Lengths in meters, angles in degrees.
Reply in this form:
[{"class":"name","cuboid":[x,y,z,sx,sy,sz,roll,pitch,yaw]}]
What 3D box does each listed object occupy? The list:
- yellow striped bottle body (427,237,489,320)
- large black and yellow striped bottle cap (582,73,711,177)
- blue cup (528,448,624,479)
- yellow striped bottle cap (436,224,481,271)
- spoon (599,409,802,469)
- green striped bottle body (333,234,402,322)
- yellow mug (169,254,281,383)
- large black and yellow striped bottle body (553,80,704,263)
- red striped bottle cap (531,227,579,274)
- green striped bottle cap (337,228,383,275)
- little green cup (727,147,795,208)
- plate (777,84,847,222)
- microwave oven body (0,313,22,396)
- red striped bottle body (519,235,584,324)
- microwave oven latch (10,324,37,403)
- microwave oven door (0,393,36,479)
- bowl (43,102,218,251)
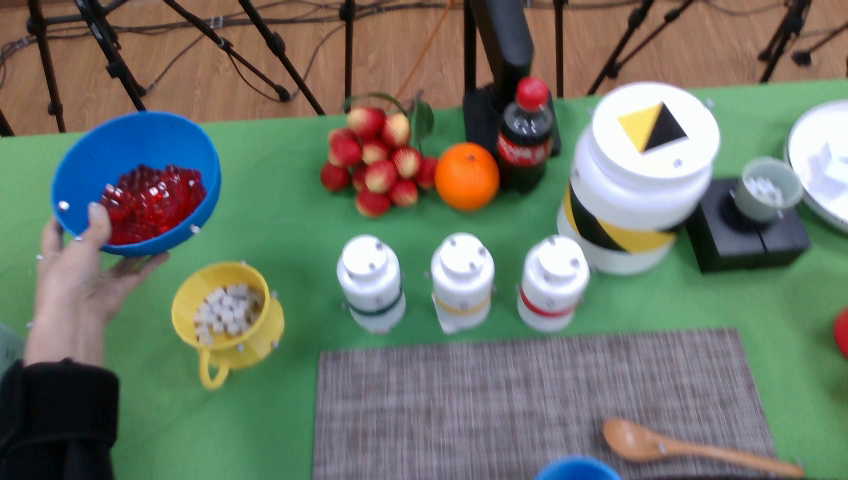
[{"class":"yellow striped bottle body","cuboid":[0.036,0.033,0.630,0.063,0.121,0.062,-2,61,3]},{"class":"large black and yellow striped bottle cap","cuboid":[0.208,-0.110,0.568,0.115,0.019,0.114,-2,60,3]},{"class":"blue cup","cuboid":[0.123,0.233,0.521,0.092,0.101,0.092,0,60,1]},{"class":"yellow striped bottle cap","cuboid":[0.033,0.007,0.586,0.044,0.019,0.044,-1,62,2]},{"class":"spoon","cuboid":[0.264,0.195,0.580,0.193,0.022,0.041,8,39,7]},{"class":"green striped bottle body","cuboid":[-0.058,0.036,0.634,0.063,0.120,0.062,-1,60,2]},{"class":"yellow mug","cuboid":[-0.213,0.087,0.644,0.100,0.064,0.130,5,62,6]},{"class":"large black and yellow striped bottle body","cuboid":[0.213,-0.071,0.643,0.131,0.185,0.129,-1,61,3]},{"class":"red striped bottle cap","cuboid":[0.125,0.009,0.579,0.044,0.018,0.044,1,59,-1]},{"class":"green striped bottle cap","cuboid":[-0.062,0.011,0.588,0.044,0.020,0.044,-1,59,2]},{"class":"little green cup","cuboid":[0.363,-0.066,0.658,0.061,0.039,0.061,-1,59,1]},{"class":"plate","cuboid":[0.528,-0.098,0.726,0.209,0.038,0.207,-1,61,2]},{"class":"microwave oven body","cuboid":[-0.532,0.263,0.447,0.326,0.262,0.437,-12,62,-4]},{"class":"red striped bottle body","cuboid":[0.130,0.036,0.625,0.063,0.121,0.062,-3,59,6]},{"class":"microwave oven latch","cuboid":[-0.422,0.129,0.625,0.030,0.030,0.078,-10,62,-3]},{"class":"microwave oven door","cuboid":[-0.381,0.266,0.432,0.039,0.246,0.352,-13,61,-3]},{"class":"bowl","cuboid":[-0.265,-0.048,0.580,0.151,0.077,0.150,0,65,0]}]
